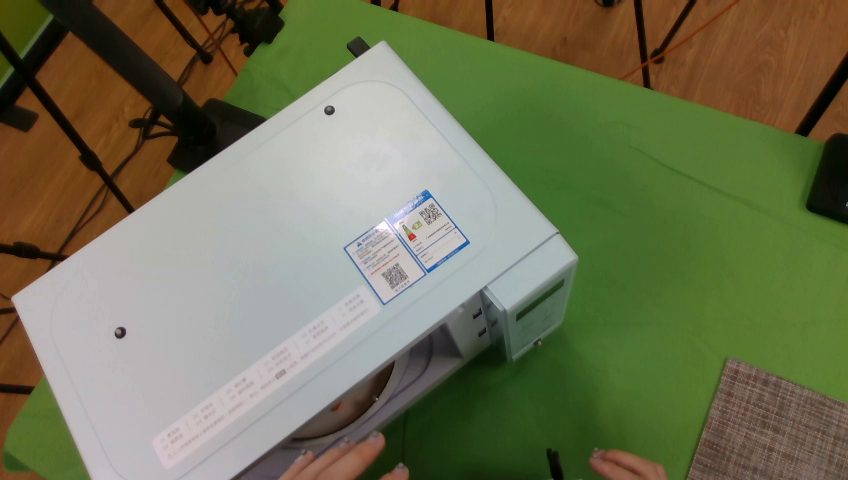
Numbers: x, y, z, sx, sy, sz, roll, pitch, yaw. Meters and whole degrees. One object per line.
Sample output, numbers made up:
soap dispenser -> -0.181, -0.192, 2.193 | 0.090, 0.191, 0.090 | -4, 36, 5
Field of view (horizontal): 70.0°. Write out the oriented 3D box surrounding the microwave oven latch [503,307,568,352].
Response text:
microwave oven latch -> 0.130, 0.096, 0.706 | 0.079, 0.030, 0.030 | -35, 69, -4

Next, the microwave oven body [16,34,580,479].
microwave oven body -> -0.113, 0.060, 0.654 | 0.441, 0.262, 0.323 | -37, 69, -5

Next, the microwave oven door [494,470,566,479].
microwave oven door -> -0.036, 0.256, 0.562 | 0.356, 0.246, 0.039 | -10, 68, 5
